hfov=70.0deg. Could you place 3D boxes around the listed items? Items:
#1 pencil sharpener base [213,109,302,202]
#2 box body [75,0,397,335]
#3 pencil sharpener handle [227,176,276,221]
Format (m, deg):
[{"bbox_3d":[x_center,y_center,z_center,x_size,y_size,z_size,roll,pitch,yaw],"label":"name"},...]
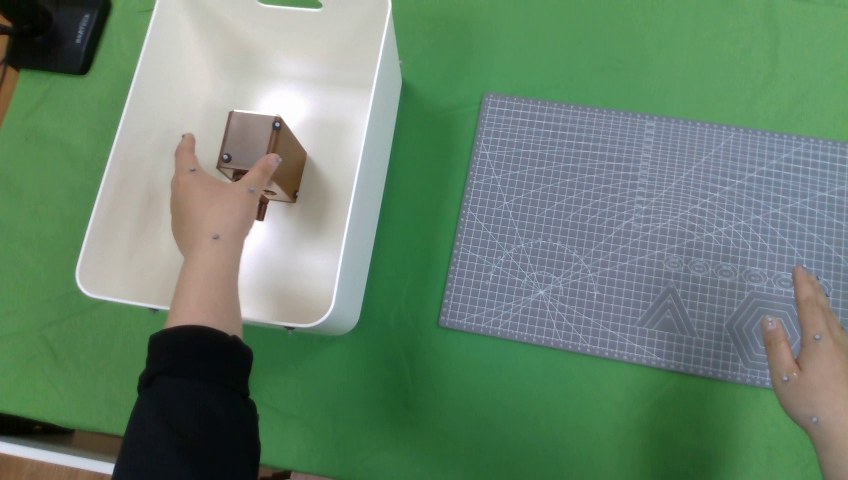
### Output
[{"bbox_3d":[-0.188,-0.091,0.697,0.061,0.107,0.076,8,77,6],"label":"pencil sharpener base"},{"bbox_3d":[-0.179,-0.086,0.673,0.254,0.161,0.362,7,77,6],"label":"box body"},{"bbox_3d":[-0.191,-0.045,0.671,0.036,0.068,0.030,1,74,30],"label":"pencil sharpener handle"}]
